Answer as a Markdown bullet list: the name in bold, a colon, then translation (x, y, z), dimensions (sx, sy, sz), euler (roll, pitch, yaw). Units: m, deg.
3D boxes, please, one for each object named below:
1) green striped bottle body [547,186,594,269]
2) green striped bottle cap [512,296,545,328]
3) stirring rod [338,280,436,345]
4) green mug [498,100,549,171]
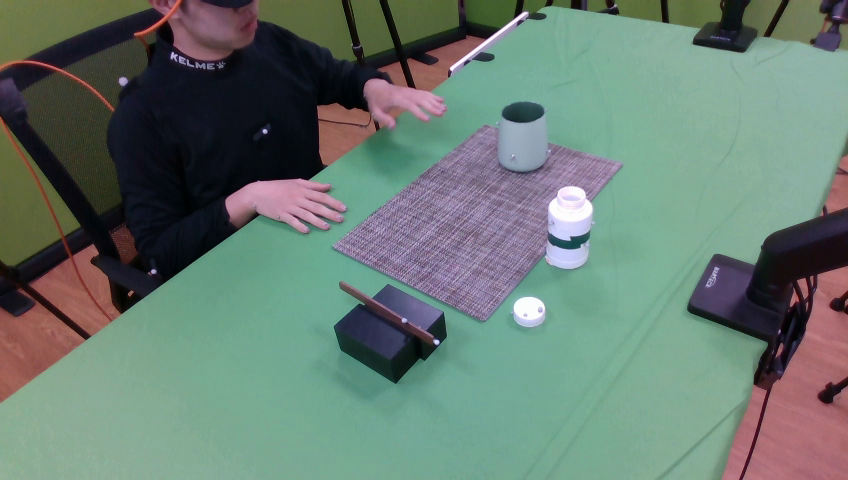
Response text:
- **green striped bottle body**: translation (0.214, -0.020, 0.886), dimensions (0.063, 0.120, 0.063), euler (-4, 41, 4)
- **green striped bottle cap**: translation (0.144, 0.099, 0.837), dimensions (0.044, 0.020, 0.044), euler (-2, 44, 2)
- **stirring rod**: translation (-0.053, 0.093, 0.795), dimensions (0.174, 0.014, 0.006), euler (26, 46, 33)
- **green mug**: translation (0.182, -0.197, 1.101), dimensions (0.092, 0.105, 0.125), euler (3, 42, 12)
